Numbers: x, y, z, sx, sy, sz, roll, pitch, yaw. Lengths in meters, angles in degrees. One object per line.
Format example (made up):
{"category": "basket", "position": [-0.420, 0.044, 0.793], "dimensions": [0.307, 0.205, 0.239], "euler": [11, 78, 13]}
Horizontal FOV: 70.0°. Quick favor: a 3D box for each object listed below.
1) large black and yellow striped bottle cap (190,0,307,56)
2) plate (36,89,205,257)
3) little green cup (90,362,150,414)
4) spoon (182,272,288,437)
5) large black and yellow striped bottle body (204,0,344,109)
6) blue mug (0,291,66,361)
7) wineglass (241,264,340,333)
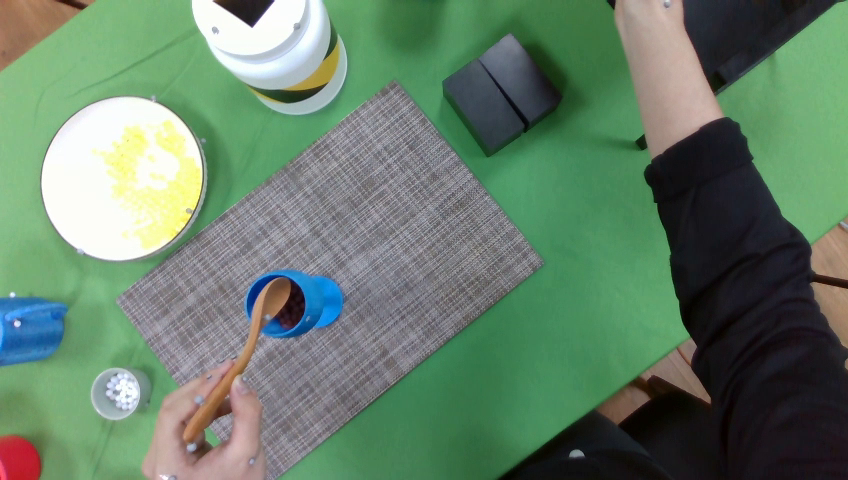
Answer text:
{"category": "large black and yellow striped bottle cap", "position": [-0.175, -0.241, 0.602], "dimensions": [0.115, 0.019, 0.114], "euler": [0, 85, 2]}
{"category": "plate", "position": [-0.374, -0.081, 0.758], "dimensions": [0.209, 0.038, 0.208], "euler": [0, 87, 2]}
{"category": "little green cup", "position": [-0.370, 0.179, 0.743], "dimensions": [0.061, 0.038, 0.061], "euler": [0, 87, 3]}
{"category": "spoon", "position": [-0.146, 0.084, 0.488], "dimensions": [0.021, 0.192, 0.042], "euler": [12, 119, -2]}
{"category": "large black and yellow striped bottle body", "position": [-0.169, -0.236, 0.685], "dimensions": [0.131, 0.184, 0.130], "euler": [0, 86, 3]}
{"category": "blue mug", "position": [-0.489, 0.095, 0.719], "dimensions": [0.116, 0.106, 0.082], "euler": [-25, 85, 0]}
{"category": "wineglass", "position": [-0.141, 0.063, 0.669], "dimensions": [0.074, 0.172, 0.073], "euler": [0, 86, 3]}
